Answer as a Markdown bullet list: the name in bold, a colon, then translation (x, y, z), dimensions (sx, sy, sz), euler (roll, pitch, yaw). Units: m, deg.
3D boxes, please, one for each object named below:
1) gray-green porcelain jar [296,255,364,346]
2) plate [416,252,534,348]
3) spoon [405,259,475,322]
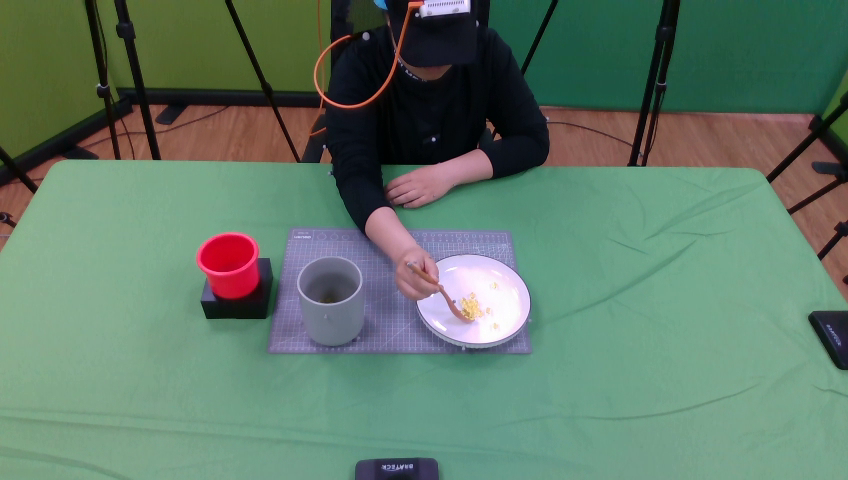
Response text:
- **gray-green porcelain jar**: translation (-0.153, 0.106, 1.008), dimensions (0.106, 0.127, 0.105), euler (2, 46, -2)
- **plate**: translation (0.090, 0.109, 1.084), dimensions (0.208, 0.039, 0.206), euler (2, 46, -2)
- **spoon**: translation (0.027, 0.085, 1.008), dimensions (0.021, 0.195, 0.041), euler (-44, 36, -5)
